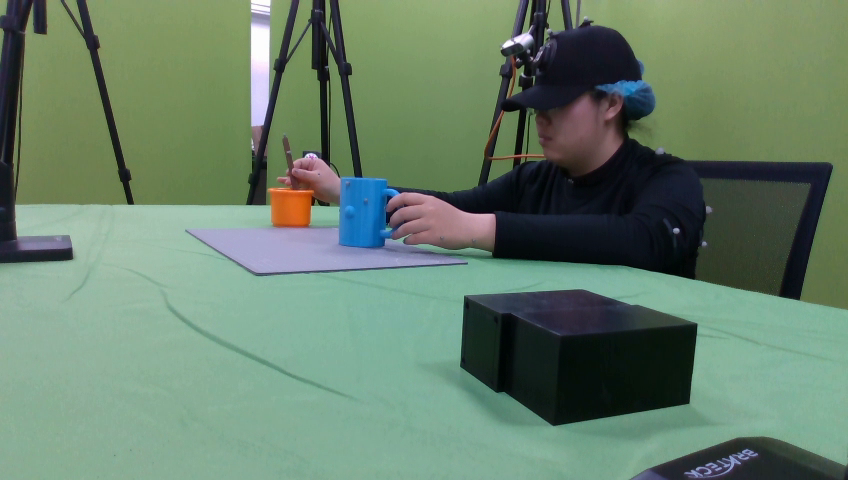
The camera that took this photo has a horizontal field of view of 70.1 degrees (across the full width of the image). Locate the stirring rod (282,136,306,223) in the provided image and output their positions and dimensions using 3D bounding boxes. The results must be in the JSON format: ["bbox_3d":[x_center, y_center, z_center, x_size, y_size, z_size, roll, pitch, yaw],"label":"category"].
[{"bbox_3d":[-0.259,-0.120,1.206,0.006,0.176,0.014,-11,3,26],"label":"stirring rod"}]

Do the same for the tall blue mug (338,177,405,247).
[{"bbox_3d":[-0.083,-0.046,0.977,0.107,0.108,0.078,2,6,-1],"label":"tall blue mug"}]
